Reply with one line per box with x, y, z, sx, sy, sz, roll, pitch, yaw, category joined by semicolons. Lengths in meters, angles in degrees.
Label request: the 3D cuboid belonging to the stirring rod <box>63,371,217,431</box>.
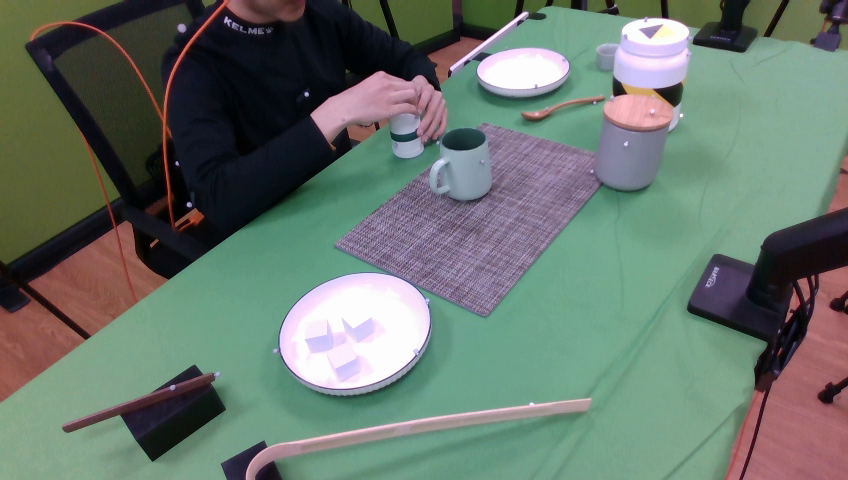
-0.337;0.192;0.723;0.177;0.014;0.005;-18;43;-12;stirring rod

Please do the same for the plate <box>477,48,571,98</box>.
0.223;-0.371;1.357;0.209;0.038;0.208;-4;41;4;plate

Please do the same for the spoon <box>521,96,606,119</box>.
0.291;-0.277;1.249;0.194;0.022;0.041;-17;23;-11;spoon

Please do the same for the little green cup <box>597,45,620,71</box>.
0.423;-0.413;1.376;0.061;0.039;0.061;-4;41;4;little green cup

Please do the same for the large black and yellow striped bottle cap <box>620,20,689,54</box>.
0.411;-0.363;1.079;0.115;0.019;0.114;-3;42;4;large black and yellow striped bottle cap

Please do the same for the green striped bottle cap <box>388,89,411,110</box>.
-0.045;-0.262;1.129;0.044;0.020;0.044;6;47;-6;green striped bottle cap

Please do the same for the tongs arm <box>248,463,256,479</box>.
0.012;0.262;0.615;0.385;0.026;0.050;2;42;-2;tongs arm

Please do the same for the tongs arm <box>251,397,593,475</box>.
0.008;0.212;0.675;0.389;0.028;0.028;-5;46;-11;tongs arm

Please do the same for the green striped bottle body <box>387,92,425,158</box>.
-0.035;-0.223;1.160;0.063;0.120;0.063;-5;38;4;green striped bottle body

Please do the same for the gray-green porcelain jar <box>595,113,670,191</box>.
0.346;-0.155;1.017;0.106;0.127;0.105;-2;44;2;gray-green porcelain jar

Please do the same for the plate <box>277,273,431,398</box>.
-0.091;0.129;0.821;0.207;0.039;0.206;-4;40;4;plate

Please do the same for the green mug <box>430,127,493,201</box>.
0.059;-0.122;1.034;0.126;0.105;0.091;-35;48;-28;green mug

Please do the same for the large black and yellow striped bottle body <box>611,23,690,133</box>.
0.420;-0.299;1.132;0.131;0.185;0.130;-5;41;4;large black and yellow striped bottle body

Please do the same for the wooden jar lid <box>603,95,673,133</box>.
0.343;-0.200;0.974;0.108;0.021;0.108;-2;39;2;wooden jar lid
